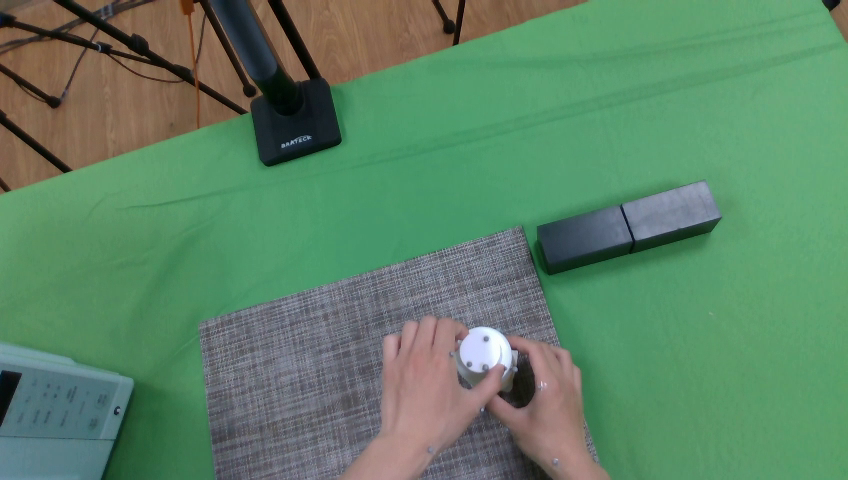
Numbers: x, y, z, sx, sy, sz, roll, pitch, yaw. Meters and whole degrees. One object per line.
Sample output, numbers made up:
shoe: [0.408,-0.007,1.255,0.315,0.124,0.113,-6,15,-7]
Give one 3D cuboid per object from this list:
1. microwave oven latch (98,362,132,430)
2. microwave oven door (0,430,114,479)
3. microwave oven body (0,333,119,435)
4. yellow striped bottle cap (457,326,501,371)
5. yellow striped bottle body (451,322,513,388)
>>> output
microwave oven latch: [-0.399,0.198,0.767,0.030,0.030,0.079,12,75,14]
microwave oven door: [-0.470,0.370,0.614,0.039,0.245,0.354,10,74,14]
microwave oven body: [-0.599,0.309,0.664,0.325,0.262,0.439,10,75,13]
yellow striped bottle cap: [0.057,0.112,0.626,0.044,0.019,0.044,-5,69,13]
yellow striped bottle body: [0.065,0.128,0.675,0.063,0.121,0.062,-3,71,10]
